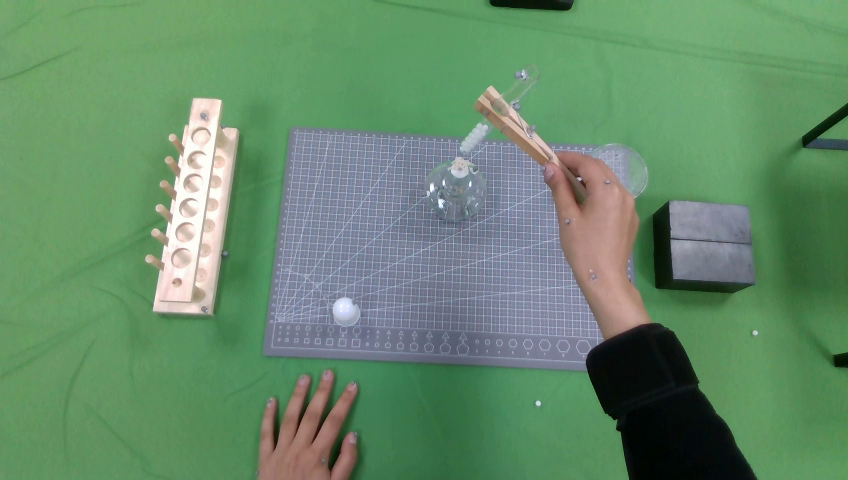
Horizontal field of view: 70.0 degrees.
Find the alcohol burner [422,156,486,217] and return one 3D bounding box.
[{"bbox_3d":[0.037,-0.071,0.725,0.078,0.119,0.077,0,74,-1],"label":"alcohol burner"}]

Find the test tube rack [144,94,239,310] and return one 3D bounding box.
[{"bbox_3d":[-0.278,-0.045,0.716,0.067,0.085,0.241,3,74,-2],"label":"test tube rack"}]

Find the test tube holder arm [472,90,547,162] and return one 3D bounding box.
[{"bbox_3d":[0.082,-0.106,0.568,0.088,0.015,0.010,39,65,-6],"label":"test tube holder arm"}]

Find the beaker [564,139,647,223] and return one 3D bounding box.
[{"bbox_3d":[0.214,-0.068,0.742,0.084,0.101,0.073,1,73,-1],"label":"beaker"}]

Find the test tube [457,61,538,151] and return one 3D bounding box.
[{"bbox_3d":[0.065,-0.122,0.574,0.017,0.150,0.017,6,70,-18],"label":"test tube"}]

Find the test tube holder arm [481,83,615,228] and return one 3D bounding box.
[{"bbox_3d":[0.118,-0.079,0.574,0.178,0.015,0.013,46,65,-3],"label":"test tube holder arm"}]

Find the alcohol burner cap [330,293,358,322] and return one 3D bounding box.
[{"bbox_3d":[-0.096,0.078,0.711,0.034,0.048,0.033,1,74,-4],"label":"alcohol burner cap"}]
